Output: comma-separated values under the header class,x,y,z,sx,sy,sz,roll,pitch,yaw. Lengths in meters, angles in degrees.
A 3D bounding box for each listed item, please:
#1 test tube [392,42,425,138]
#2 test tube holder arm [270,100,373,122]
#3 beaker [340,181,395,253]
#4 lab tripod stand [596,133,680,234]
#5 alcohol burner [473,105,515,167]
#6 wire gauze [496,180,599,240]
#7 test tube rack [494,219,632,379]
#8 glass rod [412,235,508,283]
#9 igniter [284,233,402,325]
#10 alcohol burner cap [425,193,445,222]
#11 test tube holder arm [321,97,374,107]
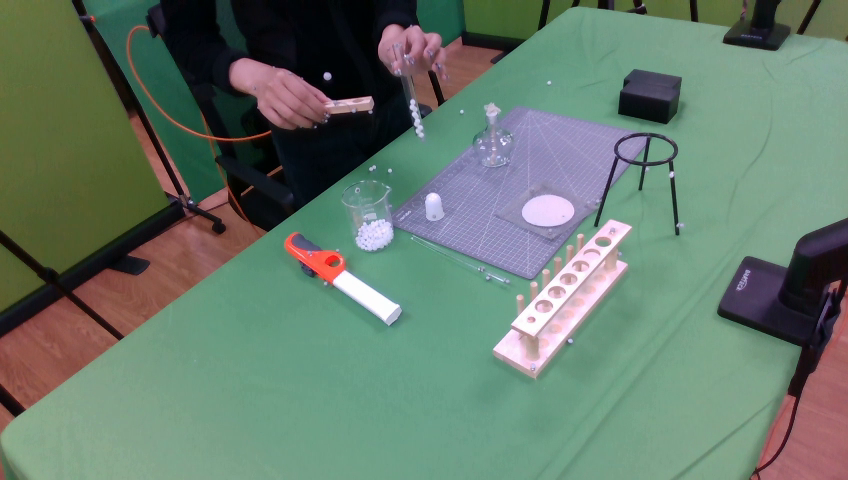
class,x,y,z,sx,sy,sz,roll,pitch,yaw
test tube,-0.022,-0.221,0.907,0.017,0.151,0.017,-11,33,8
test tube holder arm,-0.162,-0.201,0.941,0.177,0.015,0.013,-3,40,19
beaker,-0.087,-0.037,0.985,0.084,0.101,0.073,-18,41,-11
lab tripod stand,0.338,-0.090,0.940,0.148,0.132,0.147,-7,39,6
alcohol burner,0.128,-0.196,1.116,0.078,0.119,0.077,-4,40,4
wire gauze,0.206,-0.050,1.012,0.125,0.011,0.120,-34,45,-26
test tube rack,0.191,0.068,0.818,0.066,0.085,0.243,25,51,35
glass rod,0.051,0.028,0.951,0.198,0.008,0.008,25,52,37
igniter,-0.136,0.054,0.942,0.274,0.025,0.057,30,64,37
alcohol burner cap,0.017,-0.058,1.029,0.034,0.048,0.033,-6,40,5
test tube holder arm,-0.119,-0.207,0.930,0.087,0.015,0.010,-3,41,20
